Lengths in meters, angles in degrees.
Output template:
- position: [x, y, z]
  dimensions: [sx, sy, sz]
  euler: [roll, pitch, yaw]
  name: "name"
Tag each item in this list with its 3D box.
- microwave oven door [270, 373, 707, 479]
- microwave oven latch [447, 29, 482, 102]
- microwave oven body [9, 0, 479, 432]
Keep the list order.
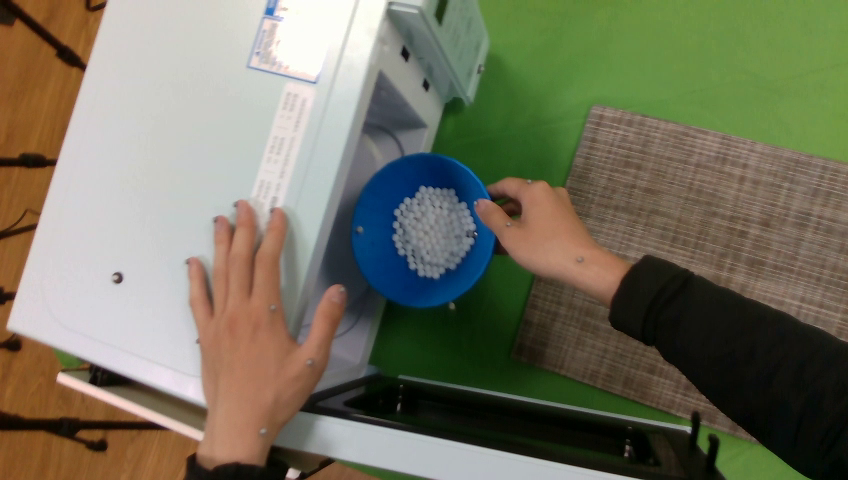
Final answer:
- position: [0.076, 0.178, 0.548]
  dimensions: [0.355, 0.245, 0.039]
  euler: [5, 86, 15]
  name: "microwave oven door"
- position: [0.045, -0.201, 0.696]
  dimensions: [0.030, 0.029, 0.079]
  euler: [16, 89, 15]
  name: "microwave oven latch"
- position: [-0.165, -0.078, 0.637]
  dimensions: [0.325, 0.261, 0.441]
  euler: [15, 89, 14]
  name: "microwave oven body"
